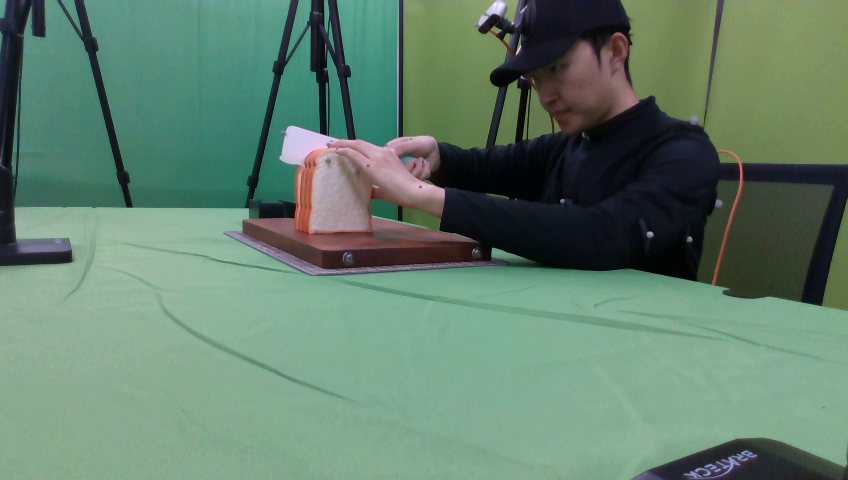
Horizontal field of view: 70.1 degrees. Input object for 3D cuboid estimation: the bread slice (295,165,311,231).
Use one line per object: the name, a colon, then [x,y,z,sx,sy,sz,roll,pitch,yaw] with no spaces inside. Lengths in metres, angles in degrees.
bread slice: [-0.158,-0.081,0.970,0.105,0.131,0.019,-2,2,-34]

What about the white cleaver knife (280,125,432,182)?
white cleaver knife: [-0.104,-0.130,0.997,0.288,0.066,0.021,8,-3,-37]

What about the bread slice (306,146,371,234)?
bread slice: [-0.131,-0.076,0.927,0.107,0.134,0.018,-7,13,-34]
